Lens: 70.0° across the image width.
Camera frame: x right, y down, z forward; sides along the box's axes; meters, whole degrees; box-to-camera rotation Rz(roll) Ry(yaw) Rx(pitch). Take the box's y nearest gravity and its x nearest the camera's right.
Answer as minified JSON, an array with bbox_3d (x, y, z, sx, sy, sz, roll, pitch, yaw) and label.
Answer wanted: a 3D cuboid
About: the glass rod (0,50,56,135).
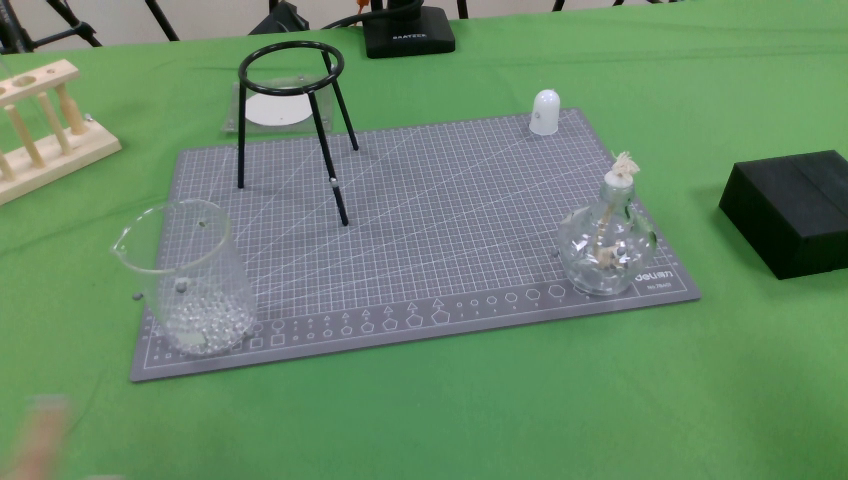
[{"bbox_3d":[-0.410,-0.179,0.588,0.008,0.202,0.008,-7,45,7],"label":"glass rod"}]

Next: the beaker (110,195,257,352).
[{"bbox_3d":[-0.171,0.029,0.448,0.084,0.101,0.073,-9,44,-7],"label":"beaker"}]

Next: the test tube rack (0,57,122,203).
[{"bbox_3d":[-0.437,-0.086,0.587,0.066,0.086,0.242,33,54,30],"label":"test tube rack"}]

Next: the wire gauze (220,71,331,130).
[{"bbox_3d":[-0.173,-0.165,0.719,0.125,0.011,0.120,-5,43,-2],"label":"wire gauze"}]

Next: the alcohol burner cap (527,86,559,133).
[{"bbox_3d":[0.131,-0.145,0.661,0.034,0.048,0.033,-1,44,1],"label":"alcohol burner cap"}]

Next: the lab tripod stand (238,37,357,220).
[{"bbox_3d":[-0.115,-0.105,0.560,0.148,0.133,0.147,-1,46,2],"label":"lab tripod stand"}]

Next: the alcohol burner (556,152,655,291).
[{"bbox_3d":[0.145,-0.017,0.476,0.078,0.120,0.077,-1,42,1],"label":"alcohol burner"}]
